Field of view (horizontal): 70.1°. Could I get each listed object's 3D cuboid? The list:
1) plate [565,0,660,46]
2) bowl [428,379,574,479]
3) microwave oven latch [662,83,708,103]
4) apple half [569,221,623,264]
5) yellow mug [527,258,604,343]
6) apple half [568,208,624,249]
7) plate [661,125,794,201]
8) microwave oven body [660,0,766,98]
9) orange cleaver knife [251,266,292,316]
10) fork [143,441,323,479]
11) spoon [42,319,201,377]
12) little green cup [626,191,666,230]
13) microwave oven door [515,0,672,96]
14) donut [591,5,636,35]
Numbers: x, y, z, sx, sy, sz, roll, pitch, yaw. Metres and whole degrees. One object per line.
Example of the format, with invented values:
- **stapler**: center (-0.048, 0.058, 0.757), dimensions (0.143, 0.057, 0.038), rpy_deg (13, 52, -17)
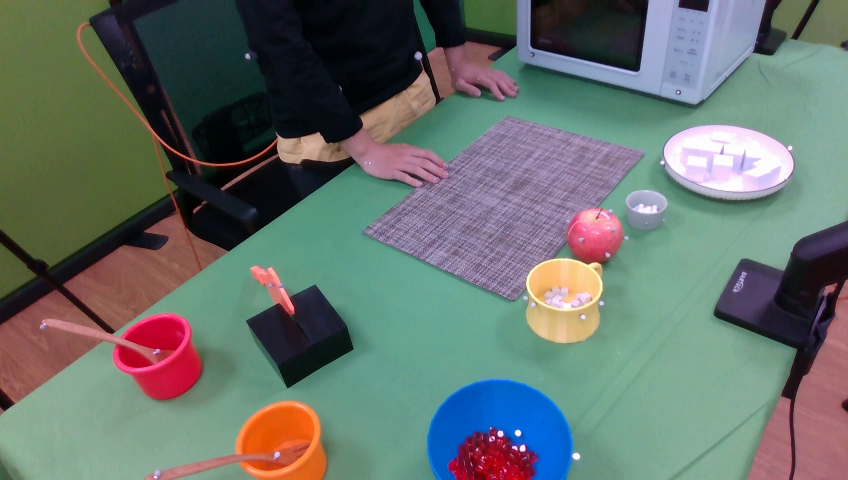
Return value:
- **plate**: center (0.427, -0.490, 1.376), dimensions (0.209, 0.038, 0.208), rpy_deg (-5, 41, 5)
- **bowl**: center (0.082, 0.233, 0.644), dimensions (0.151, 0.077, 0.150), rpy_deg (-4, 40, 4)
- **microwave oven latch**: center (0.517, -0.296, 1.204), dimensions (0.078, 0.029, 0.030), rpy_deg (27, 52, 35)
- **apple half**: center (0.251, 0.010, 0.884), dimensions (0.081, 0.081, 0.032), rpy_deg (3, 37, 12)
- **yellow mug**: center (0.201, 0.073, 0.825), dimensions (0.131, 0.064, 0.099), rpy_deg (-32, 46, -27)
- **apple half**: center (0.259, -0.014, 0.914), dimensions (0.080, 0.075, 0.053), rpy_deg (0, 36, 15)
- **plate**: center (0.513, -0.128, 1.035), dimensions (0.207, 0.039, 0.206), rpy_deg (-4, 40, 4)
- **microwave oven body**: center (0.472, -0.513, 1.317), dimensions (0.438, 0.261, 0.327), rpy_deg (26, 51, 34)
- **orange cleaver knife**: center (-0.221, 0.071, 0.873), dimensions (0.012, 0.077, 0.210), rpy_deg (-25, 11, -21)
- **fork**: center (-0.189, 0.231, 0.631), dimensions (0.028, 0.018, 0.209), rpy_deg (35, 13, 37)
- **spoon**: center (-0.385, 0.135, 0.779), dimensions (0.195, 0.021, 0.041), rpy_deg (29, 37, -26)
- **little green cup**: center (0.352, -0.046, 0.963), dimensions (0.061, 0.039, 0.061), rpy_deg (-4, 40, 4)
- **microwave oven door**: center (0.343, -0.454, 1.259), dimensions (0.353, 0.245, 0.039), rpy_deg (26, 51, 33)
- **donut**: center (0.427, -0.498, 1.364), dimensions (0.099, 0.048, 0.098), rpy_deg (-5, 39, 4)
